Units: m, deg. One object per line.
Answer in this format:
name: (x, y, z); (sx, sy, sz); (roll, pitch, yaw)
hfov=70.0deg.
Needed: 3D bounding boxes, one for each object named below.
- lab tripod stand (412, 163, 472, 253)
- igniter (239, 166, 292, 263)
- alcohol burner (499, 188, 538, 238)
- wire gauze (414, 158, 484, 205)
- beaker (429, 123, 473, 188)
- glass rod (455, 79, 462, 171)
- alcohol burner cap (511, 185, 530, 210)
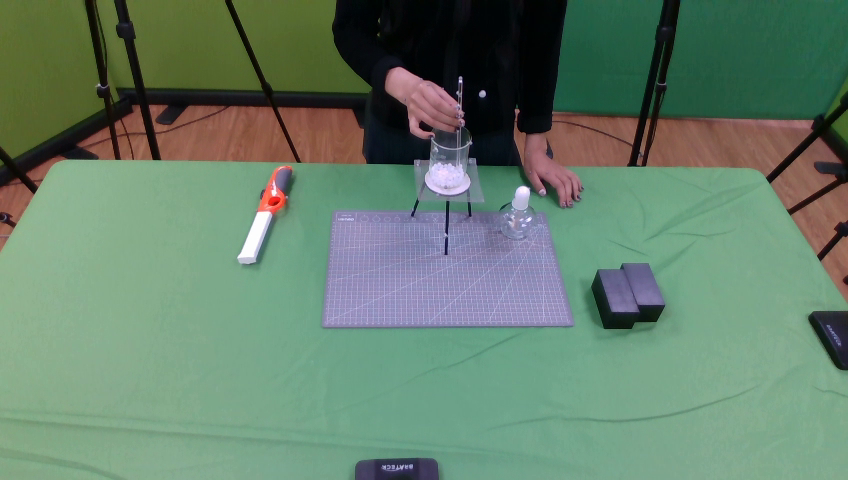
lab tripod stand: (0.043, -0.070, 1.187); (0.148, 0.132, 0.147); (3, 47, -3)
igniter: (-0.318, -0.060, 1.229); (0.057, 0.025, 0.275); (-2, 45, 9)
alcohol burner: (0.189, -0.060, 1.202); (0.078, 0.120, 0.077); (1, 48, -1)
wire gauze: (0.045, -0.113, 1.137); (0.125, 0.011, 0.120); (2, 48, -6)
beaker: (0.044, -0.154, 1.109); (0.074, 0.101, 0.083); (-25, 54, -25)
glass rod: (0.060, -0.197, 1.066); (0.008, 0.201, 0.008); (0, 49, 0)
alcohol burner cap: (0.190, -0.086, 1.176); (0.034, 0.048, 0.033); (3, 50, -3)
